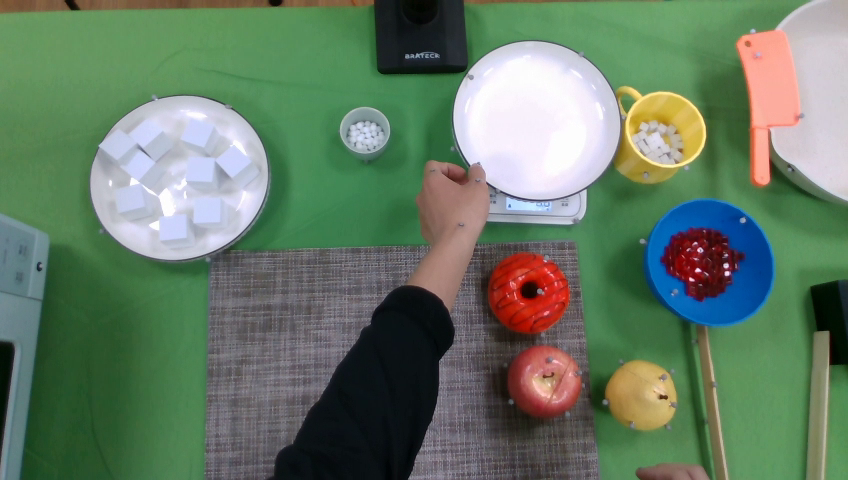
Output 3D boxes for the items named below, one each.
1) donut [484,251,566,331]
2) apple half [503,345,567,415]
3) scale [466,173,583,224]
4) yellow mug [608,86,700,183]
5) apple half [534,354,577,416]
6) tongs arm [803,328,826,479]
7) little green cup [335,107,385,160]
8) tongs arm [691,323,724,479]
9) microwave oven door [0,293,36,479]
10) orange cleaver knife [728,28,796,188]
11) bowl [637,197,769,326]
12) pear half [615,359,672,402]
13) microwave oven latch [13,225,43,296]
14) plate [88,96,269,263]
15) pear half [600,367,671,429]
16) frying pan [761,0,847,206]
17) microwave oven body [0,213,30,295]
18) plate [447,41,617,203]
[{"bbox_3d":[0.119,0.061,0.725,0.099,0.048,0.098,0,78,-1],"label":"donut"},{"bbox_3d":[0.119,0.153,0.691,0.053,0.075,0.080,30,81,6],"label":"apple half"},{"bbox_3d":[0.129,-0.122,0.774,0.149,0.031,0.200,2,78,-3],"label":"scale"},{"bbox_3d":[0.278,-0.142,0.771,0.100,0.064,0.130,-34,81,-9],"label":"yellow mug"},{"bbox_3d":[0.153,0.171,0.689,0.032,0.081,0.081,30,77,7],"label":"apple half"},{"bbox_3d":[0.445,0.293,0.711,0.028,0.028,0.386,14,78,-8],"label":"tongs arm"},{"bbox_3d":[-0.079,-0.131,0.759,0.061,0.039,0.061,1,77,-3],"label":"little green cup"},{"bbox_3d":[0.360,0.287,0.703,0.051,0.026,0.383,-1,79,-8],"label":"tongs arm"},{"bbox_3d":[-0.449,0.215,0.538,0.039,0.244,0.354,0,78,-4],"label":"microwave oven door"},{"bbox_3d":[0.420,-0.166,0.748,0.077,0.012,0.210,3,79,0],"label":"orange cleaver knife"},{"bbox_3d":[0.321,0.031,0.732,0.151,0.077,0.150,1,79,-3],"label":"bowl"},{"bbox_3d":[0.256,0.156,0.695,0.070,0.088,0.031,28,78,5],"label":"pear half"},{"bbox_3d":[-0.452,0.023,0.683,0.030,0.029,0.079,3,79,-4],"label":"microwave oven latch"},{"bbox_3d":[-0.291,-0.071,0.733,0.208,0.039,0.206,1,78,-4],"label":"plate"},{"bbox_3d":[0.238,0.183,0.678,0.076,0.110,0.056,29,78,7],"label":"pear half"},{"bbox_3d":[0.605,-0.090,0.763,0.307,0.103,0.484,-29,73,-8],"label":"frying pan"},{"bbox_3d":[-0.595,0.173,0.543,0.326,0.261,0.439,1,79,-4],"label":"microwave oven body"},{"bbox_3d":[0.130,-0.143,0.746,0.209,0.038,0.208,1,78,-4],"label":"plate"}]
